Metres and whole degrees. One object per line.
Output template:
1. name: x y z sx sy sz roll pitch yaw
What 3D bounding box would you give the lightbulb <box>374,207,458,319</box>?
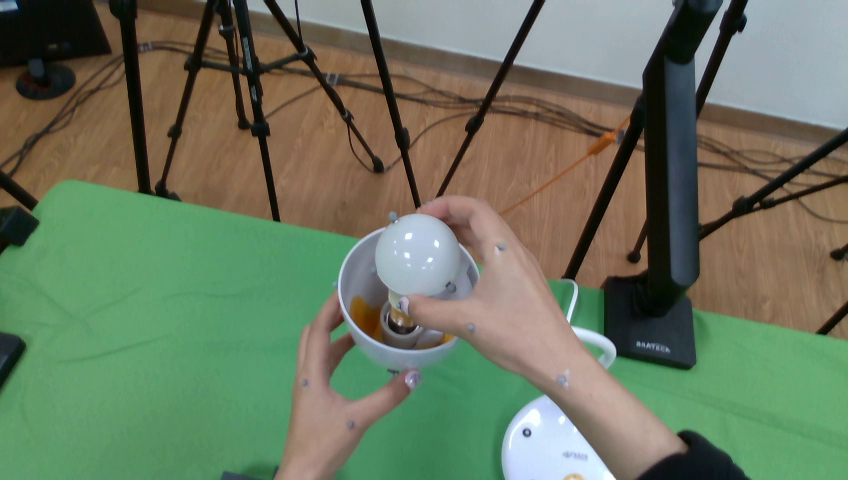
1. lightbulb: -0.008 0.022 0.443 0.059 0.108 0.059 5 48 -5

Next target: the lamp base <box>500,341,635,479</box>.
1. lamp base: 0.175 0.199 0.660 0.161 0.181 0.177 -1 54 -7

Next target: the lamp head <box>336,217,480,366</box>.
1. lamp head: -0.012 0.056 0.511 0.112 0.124 0.111 0 61 0
